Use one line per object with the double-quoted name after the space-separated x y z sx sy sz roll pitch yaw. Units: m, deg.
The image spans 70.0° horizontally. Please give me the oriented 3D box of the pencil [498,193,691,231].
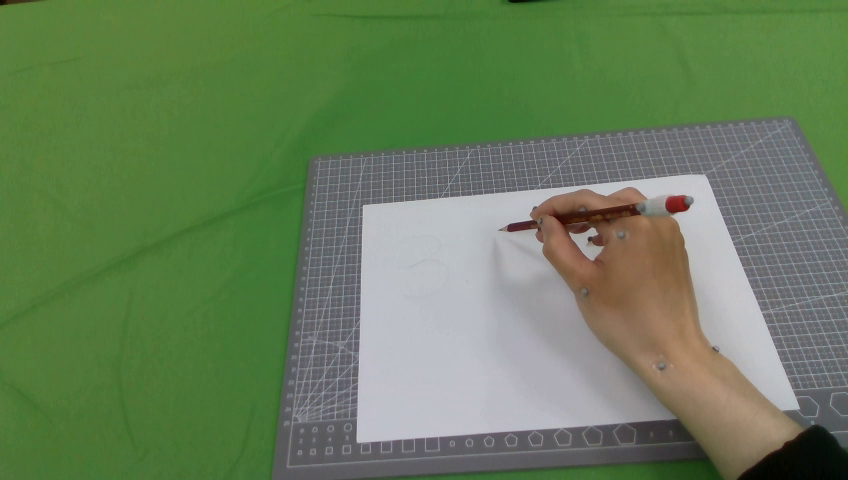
0.100 -0.015 0.409 0.012 0.193 0.012 1 86 -24 "pencil"
